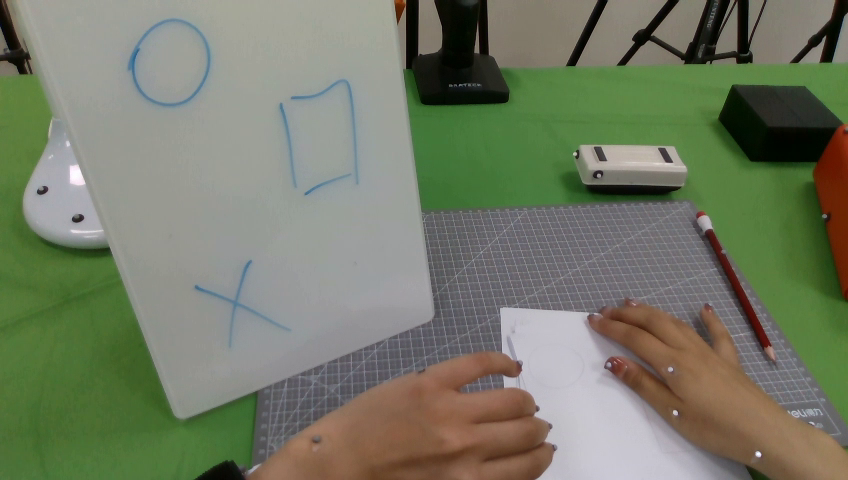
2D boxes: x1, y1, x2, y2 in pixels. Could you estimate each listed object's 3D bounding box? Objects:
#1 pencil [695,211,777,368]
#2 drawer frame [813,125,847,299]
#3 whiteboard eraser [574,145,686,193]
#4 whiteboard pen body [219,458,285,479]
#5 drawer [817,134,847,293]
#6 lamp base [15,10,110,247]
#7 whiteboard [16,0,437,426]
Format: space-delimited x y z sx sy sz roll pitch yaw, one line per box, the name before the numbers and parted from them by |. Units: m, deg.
pencil | 0.294 0.040 0.575 0.012 0.012 0.192 1 45 -3
drawer frame | 0.518 -0.013 0.599 0.201 0.083 0.212 13 43 11
whiteboard eraser | 0.229 -0.079 0.680 0.113 0.042 0.055 1 43 -3
whiteboard pen body | -0.159 0.173 0.387 0.141 0.017 0.017 -16 46 -23
drawer | 0.518 -0.009 0.598 0.194 0.074 0.210 14 43 11
lamp base | -0.320 -0.111 0.566 0.178 0.182 0.160 25 46 25
whiteboard | -0.132 -0.055 0.472 0.218 0.308 0.142 -18 28 -22
